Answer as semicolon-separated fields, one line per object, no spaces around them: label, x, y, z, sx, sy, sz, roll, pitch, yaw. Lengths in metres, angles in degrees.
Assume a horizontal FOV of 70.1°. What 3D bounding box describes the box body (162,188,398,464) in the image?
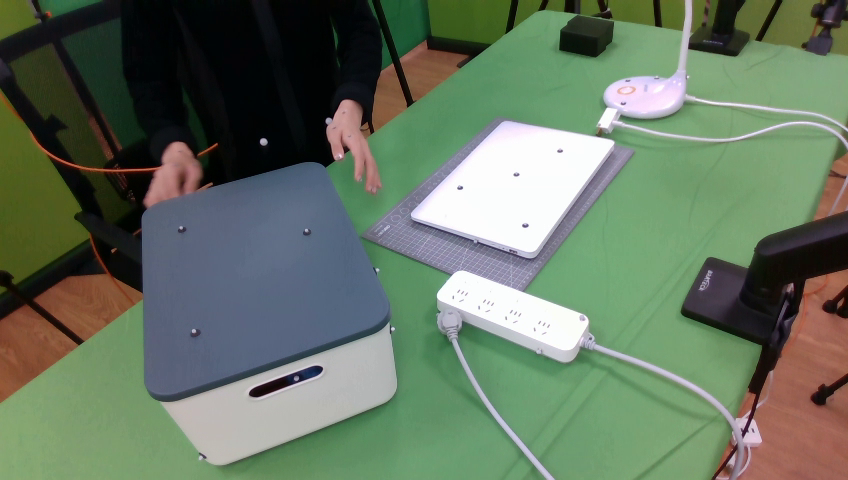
box body;-0.205;0.080;0.802;0.255;0.161;0.361;-18;41;-13

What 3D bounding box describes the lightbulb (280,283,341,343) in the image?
lightbulb;-0.152;0.102;0.826;0.060;0.060;0.107;-35;61;-29

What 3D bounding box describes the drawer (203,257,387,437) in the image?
drawer;-0.171;0.127;0.779;0.195;0.073;0.210;-16;35;-15

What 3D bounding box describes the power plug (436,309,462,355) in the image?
power plug;0.032;0.126;0.809;0.035;0.053;0.072;3;58;7

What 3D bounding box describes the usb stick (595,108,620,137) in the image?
usb stick;0.355;-0.226;1.175;0.027;0.022;0.059;29;85;40

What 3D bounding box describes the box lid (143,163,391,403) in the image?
box lid;-0.212;0.025;0.753;0.264;0.015;0.368;-18;40;-13

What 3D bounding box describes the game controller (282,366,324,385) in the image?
game controller;-0.159;0.114;0.735;0.154;0.052;0.097;29;51;34

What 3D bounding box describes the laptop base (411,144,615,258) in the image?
laptop base;0.167;-0.102;1.074;0.234;0.023;0.355;17;45;30

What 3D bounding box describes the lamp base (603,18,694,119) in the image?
lamp base;0.460;-0.355;1.204;0.179;0.181;0.160;2;41;7

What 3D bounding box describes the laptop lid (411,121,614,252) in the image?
laptop lid;0.164;-0.112;1.068;0.240;0.013;0.357;19;46;30

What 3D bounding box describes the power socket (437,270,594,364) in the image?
power socket;0.118;0.102;0.830;0.225;0.033;0.072;20;48;28
